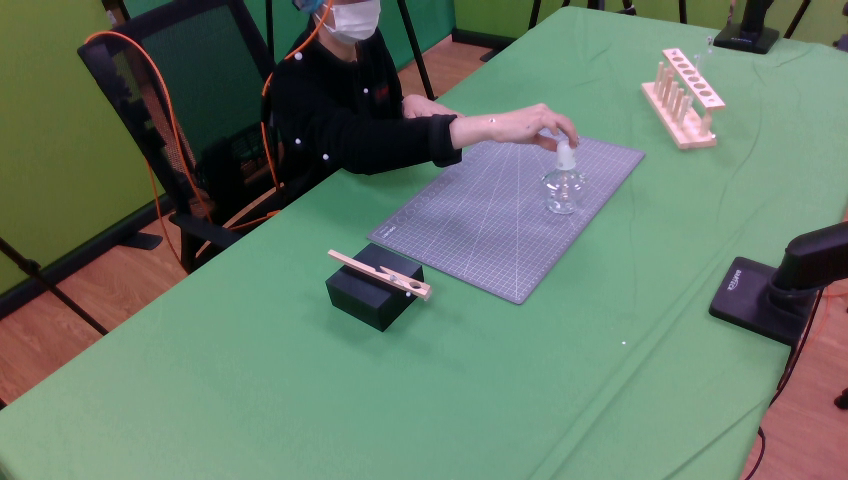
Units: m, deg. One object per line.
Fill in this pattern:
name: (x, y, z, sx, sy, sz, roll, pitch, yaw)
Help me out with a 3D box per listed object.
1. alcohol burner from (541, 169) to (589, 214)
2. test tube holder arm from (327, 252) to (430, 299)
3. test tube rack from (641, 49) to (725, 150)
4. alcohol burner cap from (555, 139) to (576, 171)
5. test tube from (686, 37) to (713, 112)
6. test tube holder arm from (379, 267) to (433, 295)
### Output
alcohol burner: (0.229, -0.102, 0.983, 0.078, 0.119, 0.077, -6, 40, 5)
test tube holder arm: (-0.068, 0.049, 0.855, 0.177, 0.015, 0.013, 18, 54, 27)
test tube rack: (0.495, -0.279, 1.175, 0.067, 0.085, 0.241, -5, 41, 3)
alcohol burner cap: (0.223, -0.135, 0.950, 0.034, 0.048, 0.033, -5, 37, 4)
test tube: (0.509, -0.306, 1.128, 0.017, 0.151, 0.017, -1, 45, 1)
test tube holder arm: (-0.027, 0.057, 0.837, 0.087, 0.015, 0.010, 18, 54, 28)
